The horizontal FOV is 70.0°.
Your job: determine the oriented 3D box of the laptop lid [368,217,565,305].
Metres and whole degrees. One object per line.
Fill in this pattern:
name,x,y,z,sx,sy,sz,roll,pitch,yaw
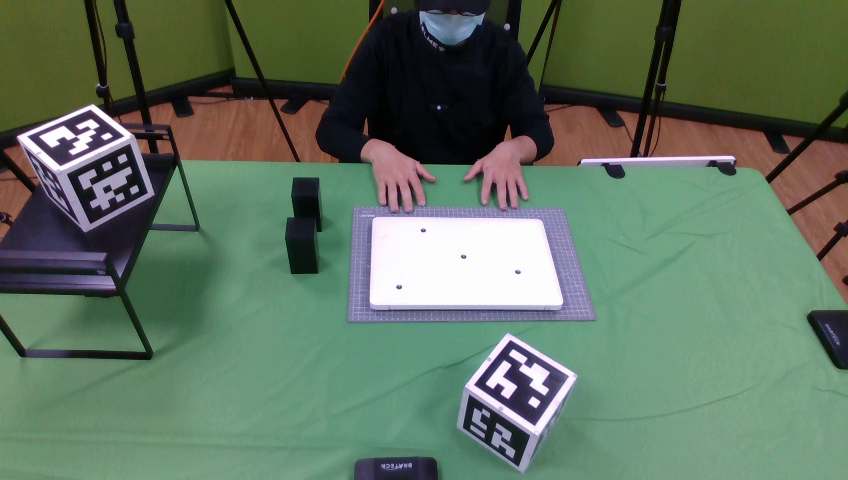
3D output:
laptop lid,0.074,0.034,1.153,0.357,0.013,0.240,2,44,-2

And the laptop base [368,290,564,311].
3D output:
laptop base,0.074,0.044,1.160,0.354,0.023,0.234,0,43,-3
